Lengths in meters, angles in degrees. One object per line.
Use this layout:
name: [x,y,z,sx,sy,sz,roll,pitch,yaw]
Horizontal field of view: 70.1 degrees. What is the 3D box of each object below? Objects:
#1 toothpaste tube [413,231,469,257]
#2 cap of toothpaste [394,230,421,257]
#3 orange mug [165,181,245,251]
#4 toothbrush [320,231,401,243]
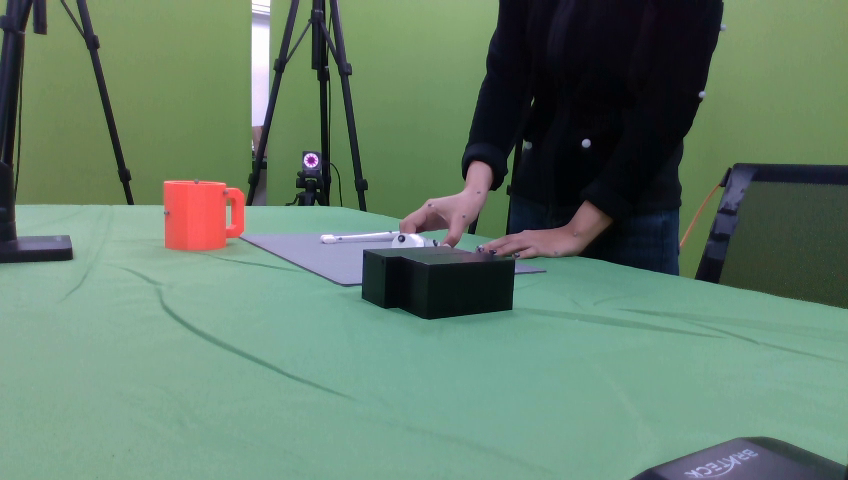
toothpaste tube: [0.013,0.009,0.866,0.055,0.034,0.166,13,3,23]
cap of toothpaste: [-0.021,0.004,0.792,0.037,0.037,0.011,4,5,13]
orange mug: [-0.326,-0.040,0.911,0.083,0.101,0.127,8,14,37]
toothbrush: [-0.089,-0.006,1.025,0.183,0.014,0.016,-3,12,-34]
